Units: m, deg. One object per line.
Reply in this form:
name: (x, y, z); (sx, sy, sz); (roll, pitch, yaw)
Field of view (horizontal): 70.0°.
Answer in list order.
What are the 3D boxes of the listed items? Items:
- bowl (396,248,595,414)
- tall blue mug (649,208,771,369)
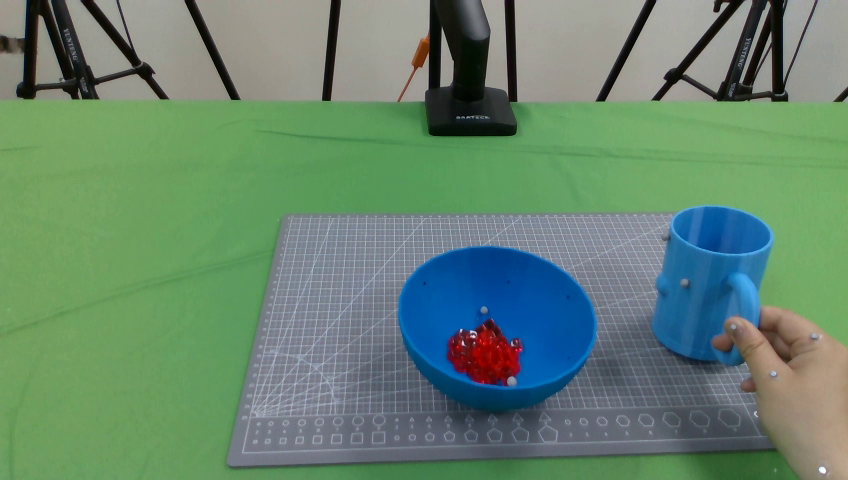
bowl: (0.052, 0.083, 0.479); (0.151, 0.077, 0.150); (2, 39, -1)
tall blue mug: (0.244, 0.045, 0.499); (0.078, 0.109, 0.106); (-19, 36, -21)
